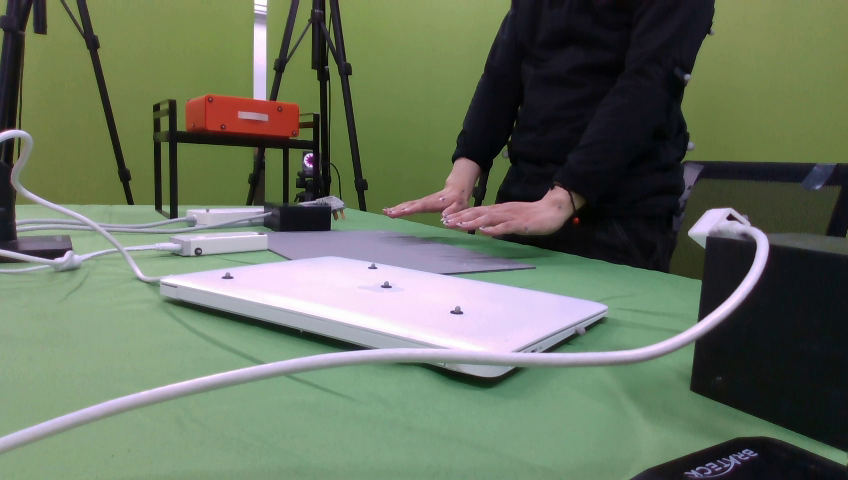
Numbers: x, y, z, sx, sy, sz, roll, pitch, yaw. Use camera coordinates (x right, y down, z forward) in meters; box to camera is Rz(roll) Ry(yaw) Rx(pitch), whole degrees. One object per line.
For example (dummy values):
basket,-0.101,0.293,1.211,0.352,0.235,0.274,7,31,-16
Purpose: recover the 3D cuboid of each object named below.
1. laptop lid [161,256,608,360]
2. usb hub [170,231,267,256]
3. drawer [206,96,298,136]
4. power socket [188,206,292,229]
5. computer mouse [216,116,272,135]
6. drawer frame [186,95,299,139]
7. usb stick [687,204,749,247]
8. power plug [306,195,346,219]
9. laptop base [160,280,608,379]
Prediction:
laptop lid,-0.037,0.046,0.556,0.355,0.013,0.243,8,7,35
usb hub,-0.290,0.004,0.862,0.049,0.025,0.126,10,11,42
drawer,-0.414,-0.276,1.376,0.195,0.073,0.210,-3,9,-31
power socket,-0.363,-0.048,1.209,0.072,0.032,0.228,7,9,36
computer mouse,-0.402,-0.257,1.353,0.118,0.041,0.062,-5,14,-35
drawer frame,-0.417,-0.277,1.378,0.203,0.082,0.212,-3,8,-32
usb stick,0.214,-0.010,0.448,0.021,0.027,0.059,39,2,6
power plug,-0.192,-0.061,1.199,0.073,0.052,0.035,-18,-7,-9
laptop base,-0.038,0.058,0.555,0.352,0.023,0.237,7,7,33
